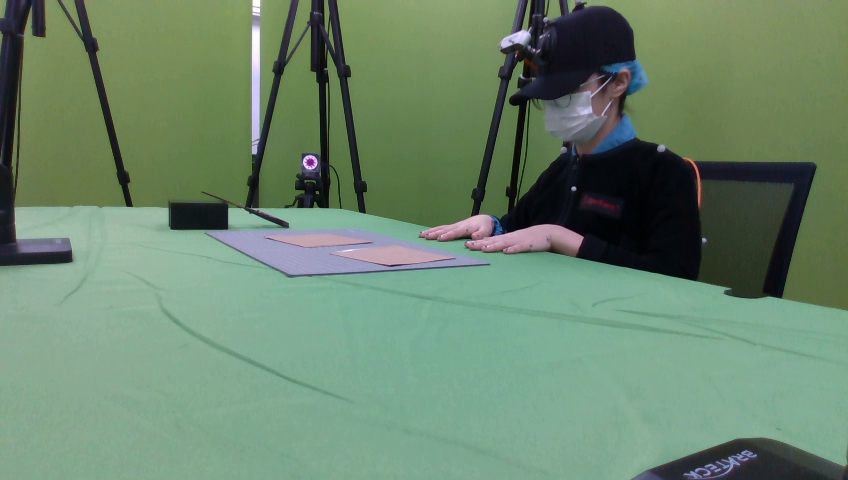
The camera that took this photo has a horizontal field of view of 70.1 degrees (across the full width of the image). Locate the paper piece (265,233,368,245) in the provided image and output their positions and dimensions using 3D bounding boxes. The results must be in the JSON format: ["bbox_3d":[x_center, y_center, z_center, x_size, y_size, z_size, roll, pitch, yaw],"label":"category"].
[{"bbox_3d":[-0.180,-0.005,1.032,0.136,0.004,0.135,-3,9,-43],"label":"paper piece"}]

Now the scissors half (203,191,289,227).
[{"bbox_3d":[-0.351,-0.063,1.200,0.176,0.013,0.040,22,-9,-16],"label":"scissors half"}]

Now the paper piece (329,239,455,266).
[{"bbox_3d":[-0.047,0.018,0.892,0.137,0.008,0.137,12,16,44],"label":"paper piece"}]

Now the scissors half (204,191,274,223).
[{"bbox_3d":[-0.359,-0.064,1.218,0.176,0.013,0.040,24,-5,-33],"label":"scissors half"}]
